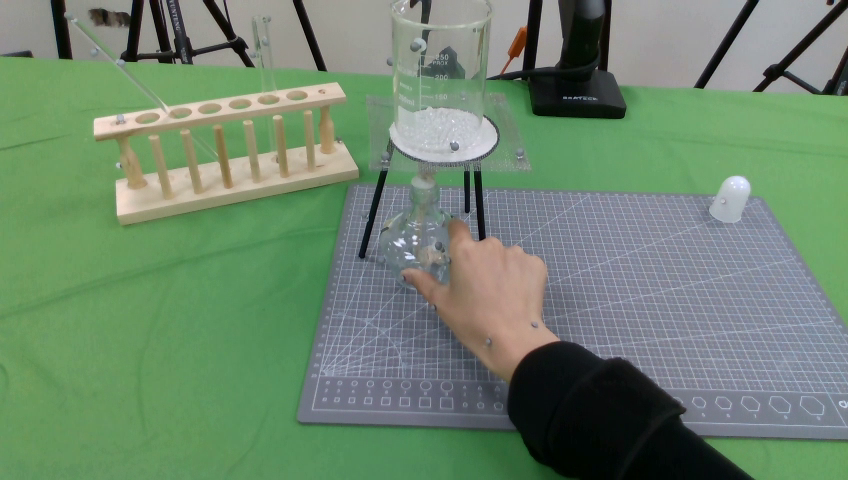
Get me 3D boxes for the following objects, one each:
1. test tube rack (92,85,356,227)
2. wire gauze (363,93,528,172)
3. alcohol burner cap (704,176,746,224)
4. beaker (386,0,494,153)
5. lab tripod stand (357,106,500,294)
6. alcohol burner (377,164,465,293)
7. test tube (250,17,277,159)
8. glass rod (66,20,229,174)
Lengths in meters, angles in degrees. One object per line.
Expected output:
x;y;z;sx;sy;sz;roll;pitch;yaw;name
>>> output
-0.198;-0.091;0.628;0.243;0.086;0.066;-14;43;-18;test tube rack
0.012;-0.087;0.489;0.125;0.011;0.120;-4;39;-2;wire gauze
0.311;-0.044;0.623;0.034;0.048;0.033;1;40;-1;alcohol burner cap
0.007;-0.124;0.456;0.083;0.101;0.074;22;44;24;beaker
0.011;-0.038;0.532;0.148;0.132;0.147;1;42;0;lab tripod stand
-0.002;-0.013;0.518;0.078;0.120;0.077;1;39;0;alcohol burner
-0.162;-0.151;0.623;0.017;0.151;0.017;2;37;-1;test tube
-0.256;-0.127;0.581;0.008;0.202;0.008;-18;47;20;glass rod
